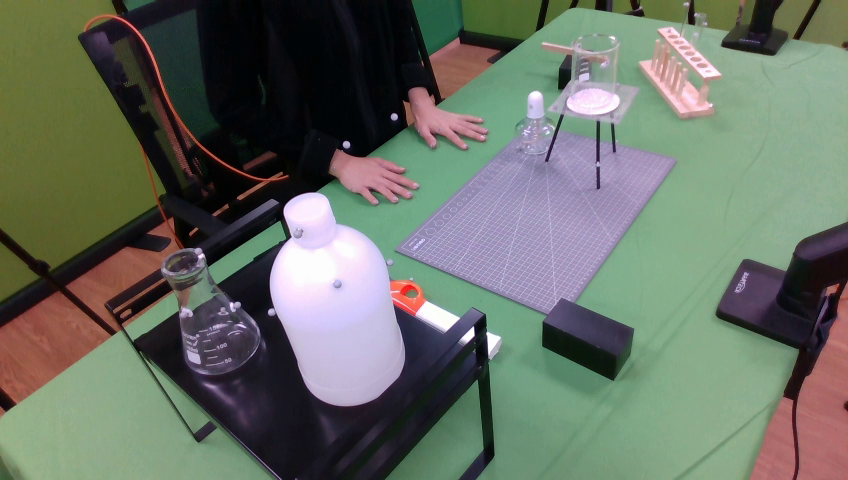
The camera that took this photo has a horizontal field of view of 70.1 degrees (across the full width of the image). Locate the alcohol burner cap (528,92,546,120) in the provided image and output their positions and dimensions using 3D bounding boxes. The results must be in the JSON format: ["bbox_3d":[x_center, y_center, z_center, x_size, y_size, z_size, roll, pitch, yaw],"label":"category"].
[{"bbox_3d":[0.206,-0.249,1.112,0.034,0.048,0.033,-6,35,5],"label":"alcohol burner cap"}]

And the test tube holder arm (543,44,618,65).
[{"bbox_3d":[0.344,-0.413,1.341,0.177,0.015,0.013,25,51,31],"label":"test tube holder arm"}]

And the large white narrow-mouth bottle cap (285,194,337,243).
[{"bbox_3d":[-0.087,-0.017,0.468,0.038,0.024,0.037,-5,40,4],"label":"large white narrow-mouth bottle cap"}]

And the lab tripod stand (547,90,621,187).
[{"bbox_3d":[0.289,-0.184,1.062,0.148,0.132,0.147,-6,41,6],"label":"lab tripod stand"}]

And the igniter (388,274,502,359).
[{"bbox_3d":[-0.009,0.094,0.870,0.274,0.025,0.057,25,61,33],"label":"igniter"}]

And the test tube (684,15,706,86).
[{"bbox_3d":[0.541,-0.378,1.216,0.017,0.151,0.017,-2,44,3],"label":"test tube"}]

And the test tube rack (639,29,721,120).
[{"bbox_3d":[0.527,-0.351,1.262,0.067,0.085,0.241,-8,40,1],"label":"test tube rack"}]

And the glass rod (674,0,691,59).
[{"bbox_3d":[0.537,-0.437,1.257,0.008,0.200,0.008,0,39,1],"label":"glass rod"}]

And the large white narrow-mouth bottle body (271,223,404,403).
[{"bbox_3d":[-0.077,0.048,0.525,0.102,0.195,0.101,-5,40,5],"label":"large white narrow-mouth bottle body"}]

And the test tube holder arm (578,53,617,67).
[{"bbox_3d":[0.375,-0.393,1.314,0.087,0.015,0.010,26,51,32],"label":"test tube holder arm"}]

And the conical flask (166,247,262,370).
[{"bbox_3d":[-0.209,0.063,0.584,0.075,0.122,0.075,-5,41,4],"label":"conical flask"}]

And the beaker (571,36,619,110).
[{"bbox_3d":[0.281,-0.273,0.992,0.084,0.101,0.073,-24,42,-16],"label":"beaker"}]

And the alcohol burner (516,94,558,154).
[{"bbox_3d":[0.212,-0.221,1.135,0.078,0.119,0.077,-5,43,5],"label":"alcohol burner"}]

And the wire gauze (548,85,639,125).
[{"bbox_3d":[0.286,-0.233,1.020,0.124,0.011,0.122,15,43,30],"label":"wire gauze"}]
